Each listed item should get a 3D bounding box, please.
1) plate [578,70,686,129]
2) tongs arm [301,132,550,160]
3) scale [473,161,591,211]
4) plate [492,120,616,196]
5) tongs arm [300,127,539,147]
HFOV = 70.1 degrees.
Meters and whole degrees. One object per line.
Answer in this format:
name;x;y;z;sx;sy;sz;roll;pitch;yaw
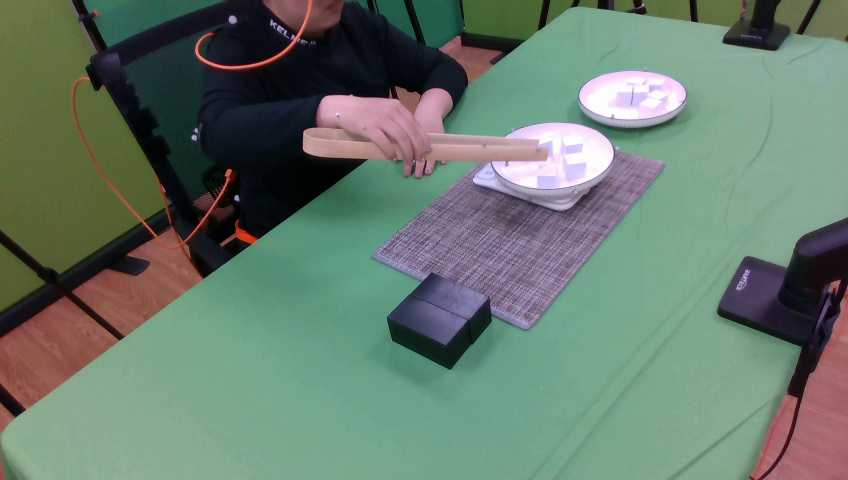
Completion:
plate;0.416;-0.280;1.222;0.209;0.038;0.208;-5;41;5
tongs arm;0.013;-0.140;0.909;0.387;0.026;0.050;-3;30;-22
scale;0.202;-0.121;1.074;0.199;0.032;0.149;23;49;33
plate;0.221;-0.137;1.038;0.207;0.039;0.206;-6;41;5
tongs arm;0.005;-0.152;0.930;0.390;0.028;0.028;-1;32;-19
